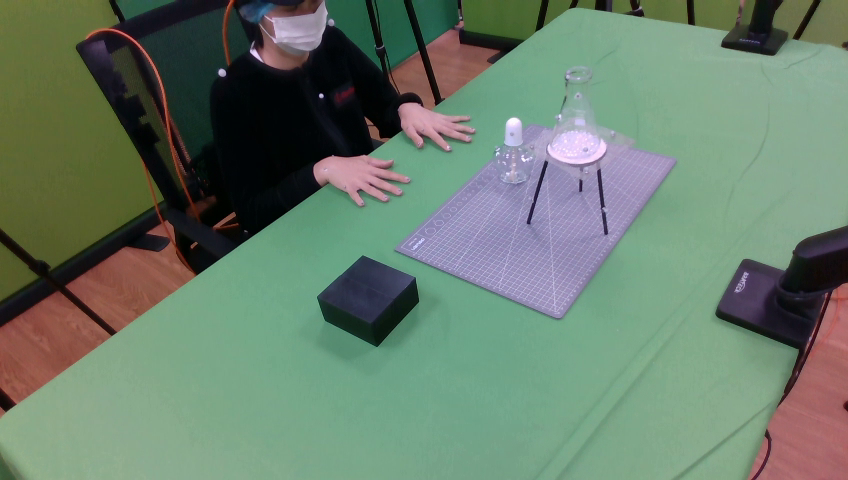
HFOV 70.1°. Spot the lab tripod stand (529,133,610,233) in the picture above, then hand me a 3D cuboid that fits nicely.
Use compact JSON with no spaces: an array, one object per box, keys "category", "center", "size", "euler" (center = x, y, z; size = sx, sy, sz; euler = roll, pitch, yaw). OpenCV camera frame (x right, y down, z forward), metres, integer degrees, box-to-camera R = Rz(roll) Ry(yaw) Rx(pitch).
[{"category":"lab tripod stand","center":[0.236,-0.089,0.953],"size":[0.148,0.132,0.147],"euler":[-5,42,5]}]

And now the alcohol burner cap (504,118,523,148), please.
[{"category":"alcohol burner cap","center":[0.154,-0.186,1.042],"size":[0.034,0.048,0.033],"euler":[-4,33,3]}]

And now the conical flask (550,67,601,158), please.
[{"category":"conical flask","center":[0.221,-0.186,0.875],"size":[0.075,0.122,0.075],"euler":[-5,40,5]}]

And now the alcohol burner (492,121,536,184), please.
[{"category":"alcohol burner","center":[0.159,-0.158,1.064],"size":[0.078,0.119,0.077],"euler":[-3,41,3]}]

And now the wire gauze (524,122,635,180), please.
[{"category":"wire gauze","center":[0.233,-0.142,0.913],"size":[0.122,0.011,0.124],"euler":[-31,43,-26]}]
